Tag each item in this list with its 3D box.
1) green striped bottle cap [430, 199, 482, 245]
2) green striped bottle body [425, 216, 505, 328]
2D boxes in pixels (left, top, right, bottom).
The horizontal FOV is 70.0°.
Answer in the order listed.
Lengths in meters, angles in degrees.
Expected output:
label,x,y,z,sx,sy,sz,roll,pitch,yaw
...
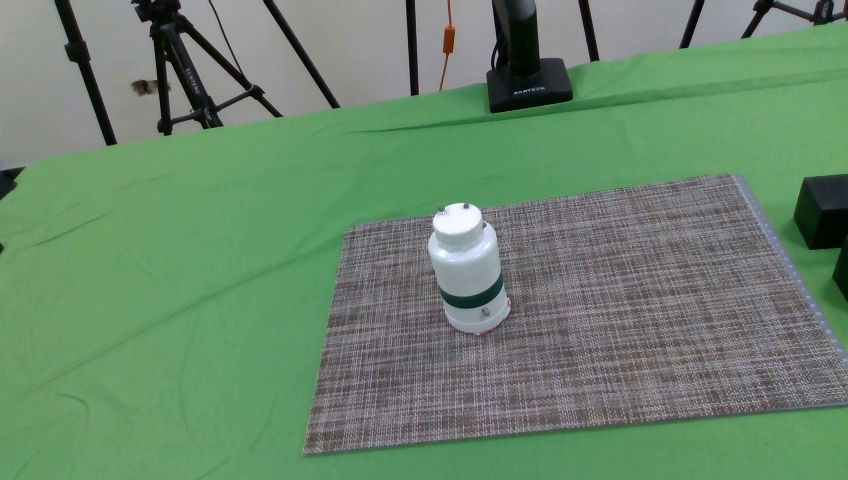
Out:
label,x,y,z,sx,sy,sz,roll,pitch,yaw
green striped bottle cap,0.028,-0.016,0.528,0.044,0.020,0.044,-10,41,9
green striped bottle body,0.038,0.022,0.563,0.063,0.120,0.062,-8,41,8
